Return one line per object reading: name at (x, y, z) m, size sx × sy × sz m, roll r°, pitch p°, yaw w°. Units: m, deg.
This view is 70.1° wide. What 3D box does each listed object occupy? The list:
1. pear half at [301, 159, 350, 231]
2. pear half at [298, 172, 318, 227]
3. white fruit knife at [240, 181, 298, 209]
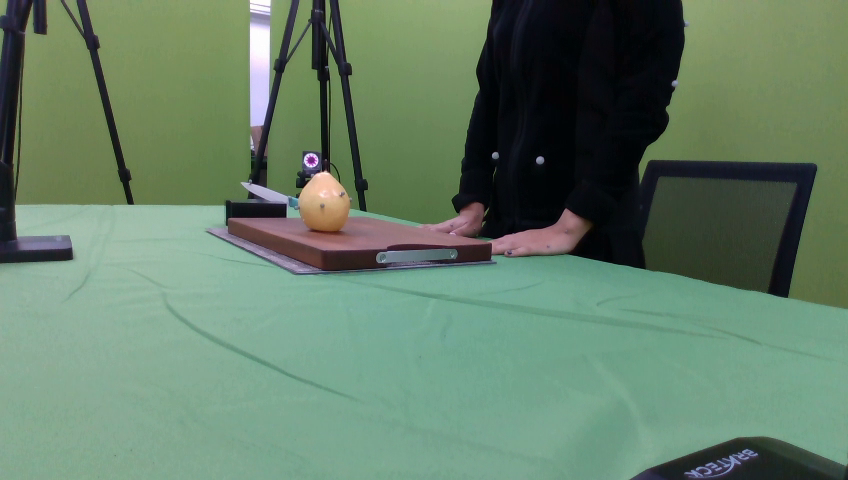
pear half at (-0.143, -0.068, 0.917) m, size 0.055 × 0.110 × 0.077 m, roll 8°, pitch 12°, yaw 34°
pear half at (-0.172, -0.062, 0.938) m, size 0.031 × 0.088 × 0.071 m, roll 8°, pitch 14°, yaw 34°
white fruit knife at (-0.269, -0.077, 1.213) m, size 0.208 × 0.027 × 0.016 m, roll 22°, pitch 5°, yaw -28°
